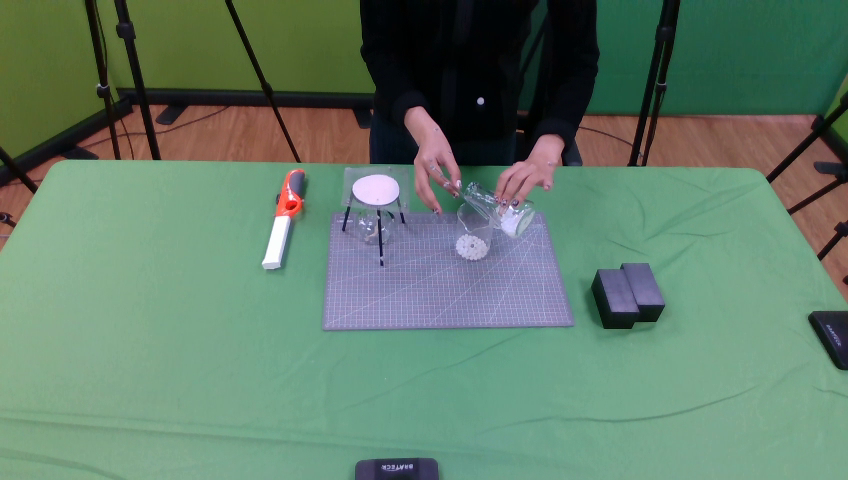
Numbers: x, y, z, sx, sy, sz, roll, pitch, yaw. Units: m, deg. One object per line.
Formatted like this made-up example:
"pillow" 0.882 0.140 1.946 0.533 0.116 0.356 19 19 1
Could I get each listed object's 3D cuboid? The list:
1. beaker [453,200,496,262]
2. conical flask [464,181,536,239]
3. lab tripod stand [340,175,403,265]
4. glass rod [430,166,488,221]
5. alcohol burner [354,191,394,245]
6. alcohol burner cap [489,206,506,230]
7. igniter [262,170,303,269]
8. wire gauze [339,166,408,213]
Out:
"beaker" 0.094 -0.012 1.162 0.074 0.101 0.083 16 48 12
"conical flask" 0.128 -0.060 1.061 0.121 0.075 0.075 33 52 22
"lab tripod stand" -0.093 -0.050 1.160 0.148 0.132 0.147 2 44 -2
"glass rod" 0.066 -0.080 1.089 0.008 0.201 0.008 -18 56 28
"alcohol burner" -0.096 -0.048 1.171 0.078 0.119 0.077 4 45 -4
"alcohol burner cap" 0.152 -0.047 1.241 0.034 0.048 0.033 2 45 -2
"igniter" -0.283 -0.050 1.222 0.057 0.025 0.275 -5 45 6
"wire gauze" -0.091 -0.096 1.110 0.125 0.011 0.120 2 45 -3
